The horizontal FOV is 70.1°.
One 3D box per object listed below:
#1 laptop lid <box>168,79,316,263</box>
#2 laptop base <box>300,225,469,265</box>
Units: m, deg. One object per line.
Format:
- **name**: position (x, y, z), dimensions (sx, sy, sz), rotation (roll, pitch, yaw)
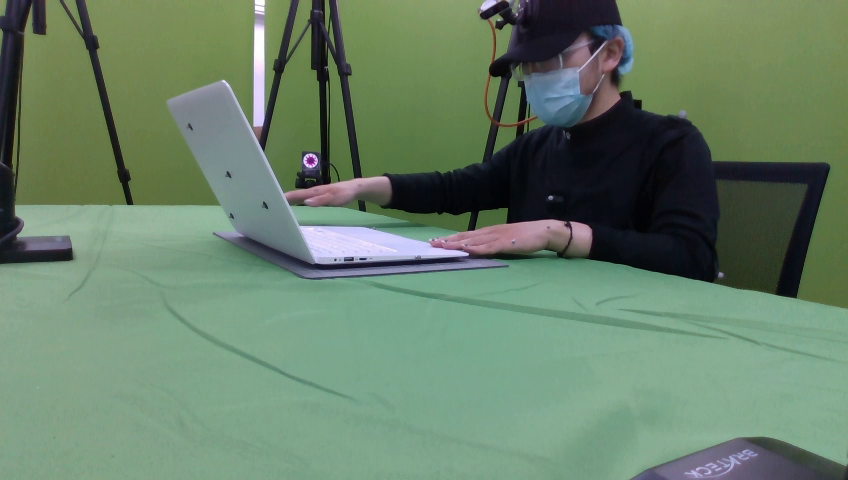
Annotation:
- **laptop lid**: position (-0.264, -0.093, 0.831), dimensions (0.013, 0.242, 0.355), rotation (-33, 25, -25)
- **laptop base**: position (-0.123, 0.005, 0.936), dimensions (0.237, 0.023, 0.352), rotation (2, 7, -33)
